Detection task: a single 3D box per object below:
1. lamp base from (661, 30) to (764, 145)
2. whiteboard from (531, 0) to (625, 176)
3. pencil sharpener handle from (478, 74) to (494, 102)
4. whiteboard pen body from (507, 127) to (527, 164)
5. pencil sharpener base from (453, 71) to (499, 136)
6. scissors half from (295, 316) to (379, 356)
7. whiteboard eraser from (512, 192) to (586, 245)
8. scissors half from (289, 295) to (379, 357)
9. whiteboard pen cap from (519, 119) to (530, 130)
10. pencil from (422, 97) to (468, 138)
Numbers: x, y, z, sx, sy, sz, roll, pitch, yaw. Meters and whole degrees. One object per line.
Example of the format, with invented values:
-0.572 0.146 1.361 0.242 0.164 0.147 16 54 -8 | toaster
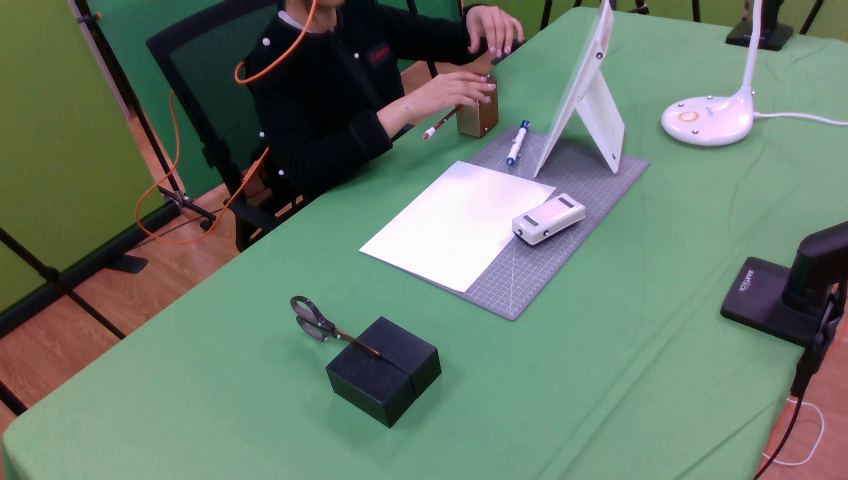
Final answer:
0.535 -0.287 1.096 0.179 0.181 0.159 -10 40 -4 | lamp base
0.320 -0.258 1.050 0.144 0.306 0.217 22 45 5 | whiteboard
0.132 -0.317 1.242 0.036 0.068 0.031 30 52 19 | pencil sharpener handle
0.181 -0.189 1.162 0.017 0.017 0.140 8 42 19 | whiteboard pen body
0.107 -0.276 1.219 0.061 0.107 0.077 20 48 30 | pencil sharpener base
-0.119 0.131 0.813 0.173 0.040 0.013 9 34 45 | scissors half
0.199 -0.032 0.962 0.113 0.042 0.055 -27 42 -20 | whiteboard eraser
-0.122 0.114 0.803 0.174 0.040 0.013 26 50 32 | scissors half
0.200 -0.226 1.205 0.018 0.018 0.033 6 41 18 | whiteboard pen cap
0.054 -0.248 1.155 0.012 0.012 0.194 20 50 30 | pencil
